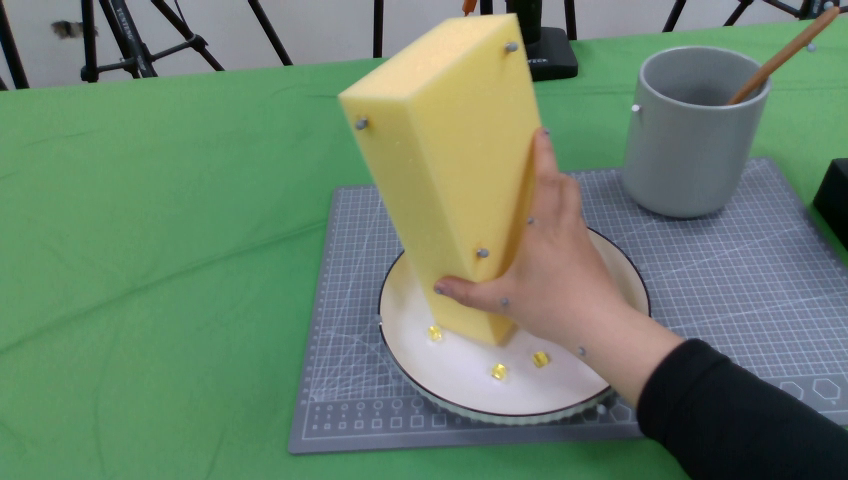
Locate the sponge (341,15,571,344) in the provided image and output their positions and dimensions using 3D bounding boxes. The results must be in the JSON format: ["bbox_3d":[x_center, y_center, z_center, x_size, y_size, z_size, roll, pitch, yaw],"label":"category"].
[{"bbox_3d":[0.036,-0.039,0.442,0.060,0.209,0.118,14,49,40],"label":"sponge"}]

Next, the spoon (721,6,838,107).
[{"bbox_3d":[0.262,-0.114,0.513,0.022,0.194,0.041,27,42,-5],"label":"spoon"}]

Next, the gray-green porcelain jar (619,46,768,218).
[{"bbox_3d":[0.236,-0.092,0.548,0.106,0.128,0.105,-4,44,4],"label":"gray-green porcelain jar"}]

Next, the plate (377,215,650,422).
[{"bbox_3d":[0.068,0.054,0.481,0.207,0.039,0.205,-3,44,4],"label":"plate"}]
